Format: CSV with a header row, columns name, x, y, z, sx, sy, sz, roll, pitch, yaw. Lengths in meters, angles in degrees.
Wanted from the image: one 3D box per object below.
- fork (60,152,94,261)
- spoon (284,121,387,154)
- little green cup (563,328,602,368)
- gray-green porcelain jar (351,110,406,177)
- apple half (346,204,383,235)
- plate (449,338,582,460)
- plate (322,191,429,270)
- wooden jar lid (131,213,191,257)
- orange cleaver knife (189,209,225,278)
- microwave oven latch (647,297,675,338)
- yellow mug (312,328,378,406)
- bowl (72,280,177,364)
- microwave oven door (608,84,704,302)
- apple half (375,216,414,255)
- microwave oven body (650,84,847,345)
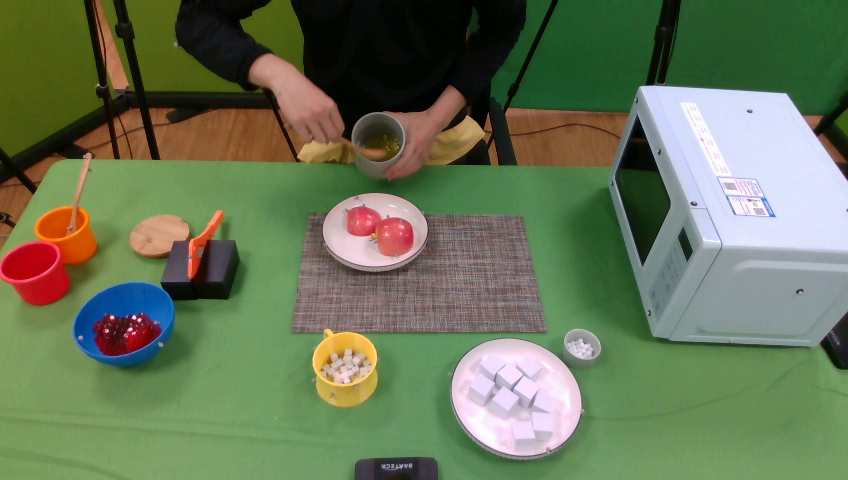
name,x,y,z,sx,sy,sz,roll,pitch,yaw
fork,-0.638,-0.063,1.119,0.028,0.018,0.207,12,90,7
spoon,-0.152,-0.180,1.057,0.194,0.021,0.041,15,15,-32
little green cup,0.265,0.184,1.025,0.061,0.039,0.061,1,46,-1
gray-green porcelain jar,-0.090,-0.188,1.219,0.106,0.126,0.105,1,80,-3
apple half,-0.119,-0.049,1.207,0.081,0.033,0.081,2,50,-2
plate,0.141,0.251,0.956,0.208,0.039,0.206,2,46,-2
plate,-0.093,-0.015,1.185,0.209,0.038,0.208,2,46,-2
wooden jar lid,-0.504,-0.008,1.167,0.108,0.021,0.107,3,46,-3
orange cleaver knife,-0.401,0.002,1.122,0.012,0.077,0.210,3,22,-4
microwave oven latch,0.413,0.133,1.060,0.030,0.029,0.078,5,46,2
yellow mug,-0.132,0.193,0.971,0.100,0.064,0.130,-22,51,-22
bowl,-0.472,0.147,0.982,0.151,0.077,0.150,2,46,-2
microwave oven door,0.424,-0.096,1.138,0.039,0.245,0.353,3,46,-1
apple half,-0.056,-0.017,1.169,0.075,0.053,0.080,0,46,-7
microwave oven body,0.569,-0.054,1.116,0.326,0.261,0.439,2,46,-1
